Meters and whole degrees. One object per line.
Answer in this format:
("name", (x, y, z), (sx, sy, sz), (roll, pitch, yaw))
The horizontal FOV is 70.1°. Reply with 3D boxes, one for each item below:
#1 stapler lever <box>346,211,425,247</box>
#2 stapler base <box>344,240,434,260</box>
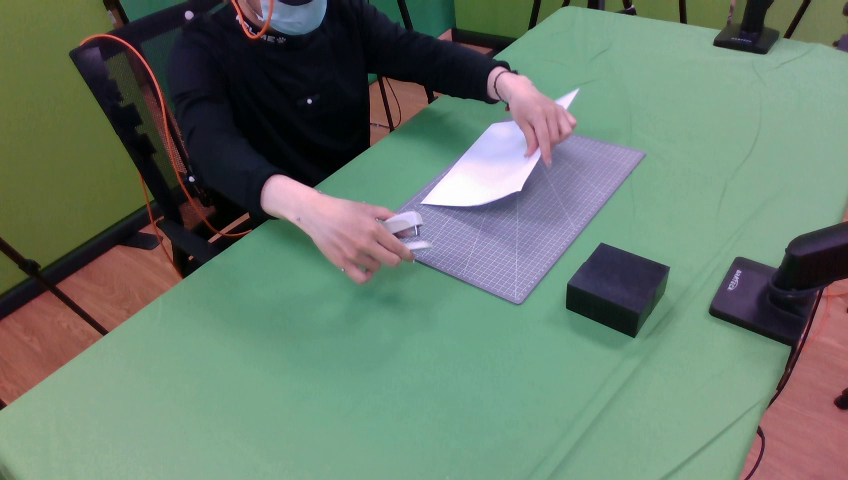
("stapler lever", (-0.056, -0.014, 0.882), (0.117, 0.027, 0.040), (-9, 82, 16))
("stapler base", (-0.052, 0.009, 0.880), (0.130, 0.041, 0.024), (-10, 81, 16))
